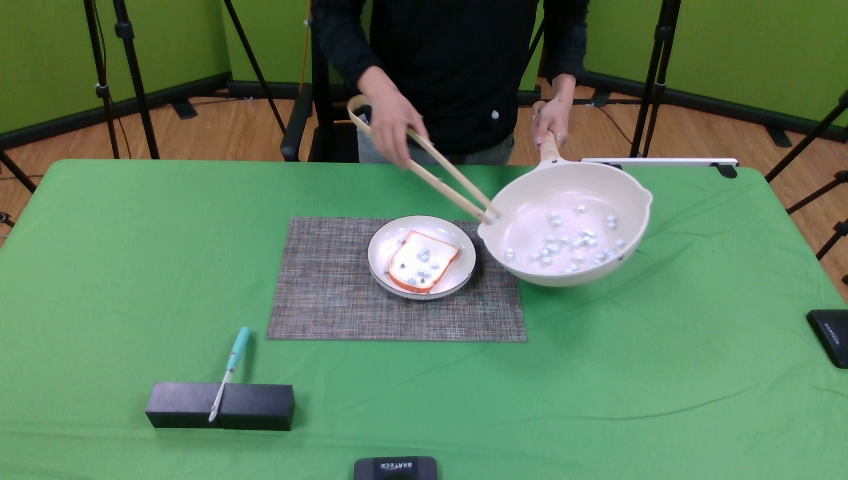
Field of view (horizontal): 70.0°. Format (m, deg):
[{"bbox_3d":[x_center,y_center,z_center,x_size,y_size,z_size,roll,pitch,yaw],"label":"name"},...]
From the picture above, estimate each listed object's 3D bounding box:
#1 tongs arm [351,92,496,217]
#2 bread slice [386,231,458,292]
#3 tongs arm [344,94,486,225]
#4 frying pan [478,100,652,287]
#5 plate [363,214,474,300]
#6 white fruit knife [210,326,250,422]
[{"bbox_3d":[-0.007,-0.163,1.097,0.028,0.028,0.385,-40,63,-12],"label":"tongs arm"},{"bbox_3d":[-0.007,0.043,1.142,0.107,0.018,0.134,18,46,14],"label":"bread slice"},{"bbox_3d":[-0.020,-0.153,1.092,0.383,0.026,0.050,38,70,24],"label":"tongs arm"},{"bbox_3d":[0.253,-0.109,1.155,0.306,0.103,0.484,-11,51,13],"label":"frying pan"},{"bbox_3d":[-0.010,0.036,1.147,0.208,0.039,0.206,2,46,-2],"label":"plate"},{"bbox_3d":[-0.300,0.201,0.942,0.016,0.027,0.206,0,32,-1],"label":"white fruit knife"}]
